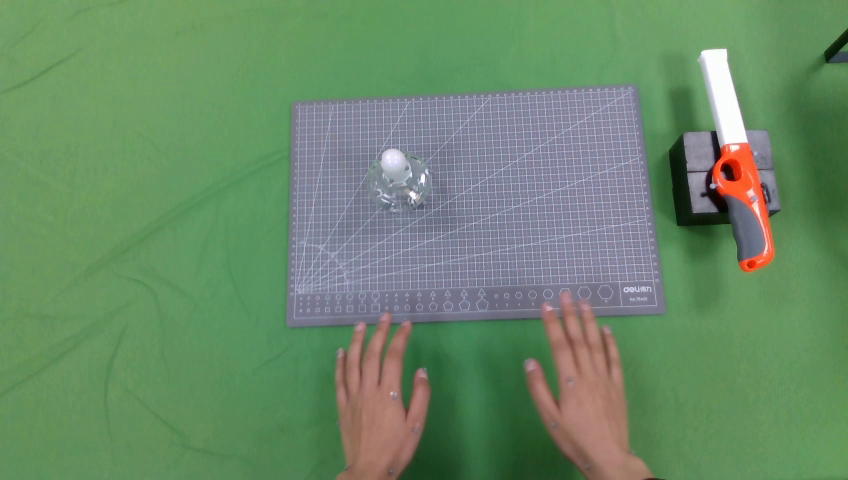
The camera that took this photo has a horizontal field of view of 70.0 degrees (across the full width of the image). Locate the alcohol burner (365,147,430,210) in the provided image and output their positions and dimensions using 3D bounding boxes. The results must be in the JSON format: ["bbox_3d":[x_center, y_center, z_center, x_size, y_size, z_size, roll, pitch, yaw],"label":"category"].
[{"bbox_3d":[-0.031,-0.078,0.707,0.078,0.119,0.077,0,74,1],"label":"alcohol burner"}]

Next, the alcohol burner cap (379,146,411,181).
[{"bbox_3d":[-0.033,-0.087,0.672,0.034,0.048,0.033,-1,79,7],"label":"alcohol burner cap"}]

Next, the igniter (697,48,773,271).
[{"bbox_3d":[0.355,-0.098,0.696,0.057,0.025,0.274,-3,72,2],"label":"igniter"}]
